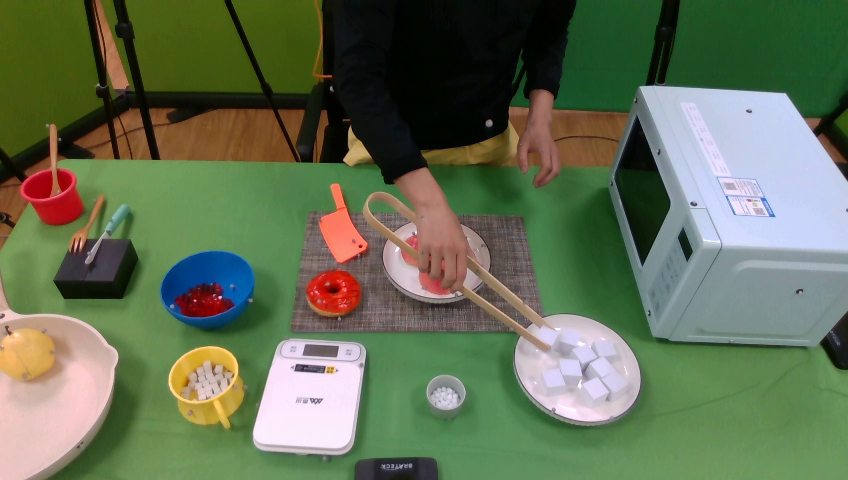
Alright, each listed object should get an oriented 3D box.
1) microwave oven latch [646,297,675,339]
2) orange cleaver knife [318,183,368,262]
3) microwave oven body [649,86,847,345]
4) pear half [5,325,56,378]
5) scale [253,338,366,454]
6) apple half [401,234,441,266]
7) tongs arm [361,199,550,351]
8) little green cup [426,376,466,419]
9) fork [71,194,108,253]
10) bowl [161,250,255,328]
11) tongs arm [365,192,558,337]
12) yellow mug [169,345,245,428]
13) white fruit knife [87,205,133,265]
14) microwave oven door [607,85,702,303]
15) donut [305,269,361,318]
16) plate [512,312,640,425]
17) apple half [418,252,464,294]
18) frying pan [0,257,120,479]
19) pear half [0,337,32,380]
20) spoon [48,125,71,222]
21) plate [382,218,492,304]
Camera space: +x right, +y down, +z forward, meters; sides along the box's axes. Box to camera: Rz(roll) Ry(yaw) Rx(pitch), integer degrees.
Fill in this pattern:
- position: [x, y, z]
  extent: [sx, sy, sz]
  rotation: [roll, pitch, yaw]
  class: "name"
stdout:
- position: [0.412, 0.134, 1.061]
  extent: [0.030, 0.029, 0.078]
  rotation: [4, 45, 1]
  class: "microwave oven latch"
- position: [-0.173, -0.037, 1.218]
  extent: [0.077, 0.012, 0.210]
  rotation: [-16, 51, -11]
  class: "orange cleaver knife"
- position: [0.567, -0.053, 1.118]
  extent: [0.326, 0.261, 0.439]
  rotation: [2, 45, -1]
  class: "microwave oven body"
- position: [-0.608, 0.158, 0.935]
  extent: [0.076, 0.110, 0.056]
  rotation: [31, 51, 20]
  class: "pear half"
- position: [-0.175, 0.236, 0.951]
  extent: [0.149, 0.032, 0.199]
  rotation: [5, 45, -1]
  class: "scale"
- position: [-0.005, 0.014, 1.159]
  extent: [0.081, 0.033, 0.081]
  rotation: [5, 44, -4]
  class: "apple half"
- position: [0.048, 0.062, 0.990]
  extent: [0.387, 0.028, 0.028]
  rotation: [37, 63, -1]
  class: "tongs arm"
- position: [0.033, 0.248, 0.950]
  extent: [0.061, 0.039, 0.061]
  rotation: [2, 46, -2]
  class: "little green cup"
- position: [-0.634, -0.036, 1.158]
  extent: [0.028, 0.019, 0.206]
  rotation: [-8, 31, -8]
  class: "fork"
- position: [-0.362, 0.098, 1.039]
  extent: [0.151, 0.077, 0.150]
  rotation: [2, 45, -2]
  class: "bowl"
- position: [0.060, 0.046, 1.002]
  extent: [0.384, 0.026, 0.050]
  rotation: [41, 60, 1]
  class: "tongs arm"
- position: [-0.322, 0.230, 0.922]
  extent: [0.100, 0.064, 0.130]
  rotation: [-24, 53, -25]
  class: "yellow mug"
- position: [-0.584, -0.013, 1.129]
  extent: [0.016, 0.027, 0.206]
  rotation: [-1, 31, -4]
  class: "white fruit knife"
- position: [0.423, -0.094, 1.140]
  extent: [0.039, 0.245, 0.353]
  rotation: [2, 46, -1]
  class: "microwave oven door"
- position: [-0.160, 0.095, 1.075]
  extent: [0.099, 0.048, 0.098]
  rotation: [4, 45, -3]
  class: "donut"
- position: [0.246, 0.213, 0.999]
  extent: [0.208, 0.039, 0.206]
  rotation: [2, 46, -2]
  class: "plate"
- position: [0.033, 0.055, 1.109]
  extent: [0.081, 0.053, 0.074]
  rotation: [-31, 58, -28]
  class: "apple half"
- position: [-0.647, 0.164, 0.936]
  extent: [0.307, 0.103, 0.485]
  rotation: [-19, 58, -22]
  class: "frying pan"
- position: [-0.631, 0.184, 0.921]
  extent: [0.070, 0.088, 0.031]
  rotation: [29, 49, 19]
  class: "pear half"
- position: [-0.718, -0.131, 1.188]
  extent: [0.041, 0.021, 0.193]
  rotation: [-3, 90, -7]
  class: "spoon"
- position: [0.024, 0.042, 1.143]
  extent: [0.209, 0.038, 0.208]
  rotation: [2, 46, -2]
  class: "plate"
